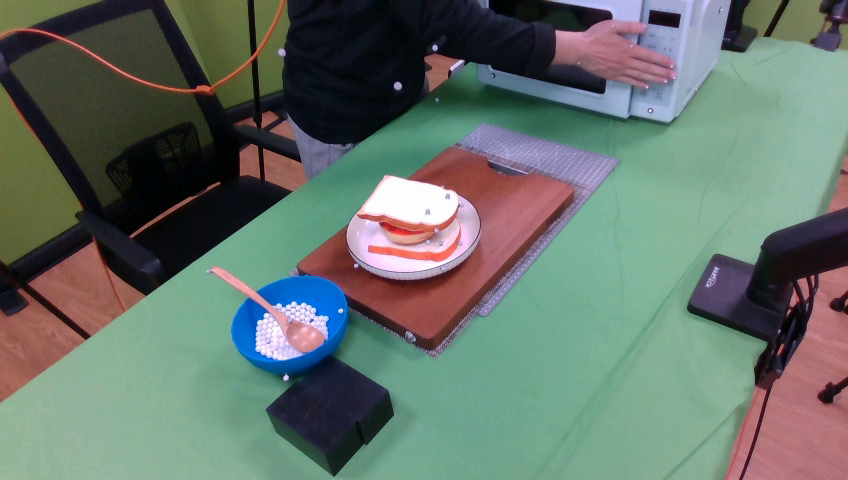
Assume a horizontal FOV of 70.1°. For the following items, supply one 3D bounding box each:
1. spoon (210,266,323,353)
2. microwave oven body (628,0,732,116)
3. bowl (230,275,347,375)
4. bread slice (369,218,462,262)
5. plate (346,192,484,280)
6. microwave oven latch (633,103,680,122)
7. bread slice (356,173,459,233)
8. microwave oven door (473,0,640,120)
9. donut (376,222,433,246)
[{"bbox_3d":[-0.213,0.087,0.806,0.193,0.021,0.042,36,56,12],"label":"spoon"},{"bbox_3d":[0.377,-0.463,1.267,0.438,0.261,0.327,21,49,30],"label":"microwave oven body"},{"bbox_3d":[-0.170,0.125,0.802,0.151,0.077,0.150,-4,40,4],"label":"bowl"},{"bbox_3d":[-0.008,-0.010,0.928,0.131,0.019,0.105,7,44,20],"label":"bread slice"},{"bbox_3d":[-0.013,-0.008,0.922,0.207,0.039,0.206,-4,40,4],"label":"plate"},{"bbox_3d":[0.443,-0.249,1.158,0.078,0.029,0.030,20,48,29],"label":"microwave oven latch"},{"bbox_3d":[-0.017,-0.053,0.886,0.134,0.018,0.107,12,42,12],"label":"bread slice"},{"bbox_3d":[0.252,-0.391,1.194,0.353,0.245,0.039,23,49,31],"label":"microwave oven door"},{"bbox_3d":[-0.023,-0.032,0.906,0.099,0.048,0.098,-10,41,9],"label":"donut"}]
